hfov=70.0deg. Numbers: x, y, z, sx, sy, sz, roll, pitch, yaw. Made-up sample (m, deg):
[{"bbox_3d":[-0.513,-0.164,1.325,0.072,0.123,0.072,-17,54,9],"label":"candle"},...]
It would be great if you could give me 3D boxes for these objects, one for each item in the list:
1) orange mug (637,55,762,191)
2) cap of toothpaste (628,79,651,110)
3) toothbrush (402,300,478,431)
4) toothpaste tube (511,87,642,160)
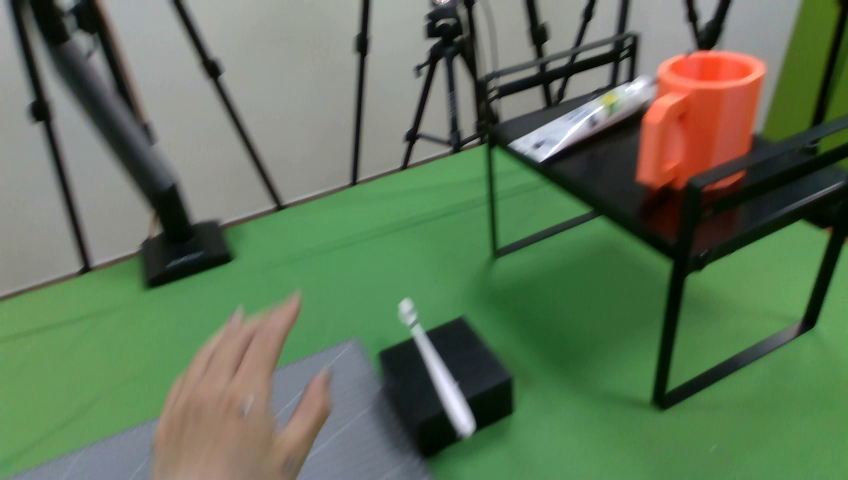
[{"bbox_3d":[0.236,-0.100,0.539,0.126,0.101,0.082,-25,37,-30],"label":"orange mug"},{"bbox_3d":[0.241,-0.164,0.686,0.011,0.038,0.037,-28,38,-20],"label":"cap of toothpaste"},{"bbox_3d":[0.011,0.113,0.580,0.014,0.017,0.180,-15,35,-15],"label":"toothbrush"},{"bbox_3d":[0.175,-0.130,0.661,0.165,0.035,0.054,-28,34,-20],"label":"toothpaste tube"}]
